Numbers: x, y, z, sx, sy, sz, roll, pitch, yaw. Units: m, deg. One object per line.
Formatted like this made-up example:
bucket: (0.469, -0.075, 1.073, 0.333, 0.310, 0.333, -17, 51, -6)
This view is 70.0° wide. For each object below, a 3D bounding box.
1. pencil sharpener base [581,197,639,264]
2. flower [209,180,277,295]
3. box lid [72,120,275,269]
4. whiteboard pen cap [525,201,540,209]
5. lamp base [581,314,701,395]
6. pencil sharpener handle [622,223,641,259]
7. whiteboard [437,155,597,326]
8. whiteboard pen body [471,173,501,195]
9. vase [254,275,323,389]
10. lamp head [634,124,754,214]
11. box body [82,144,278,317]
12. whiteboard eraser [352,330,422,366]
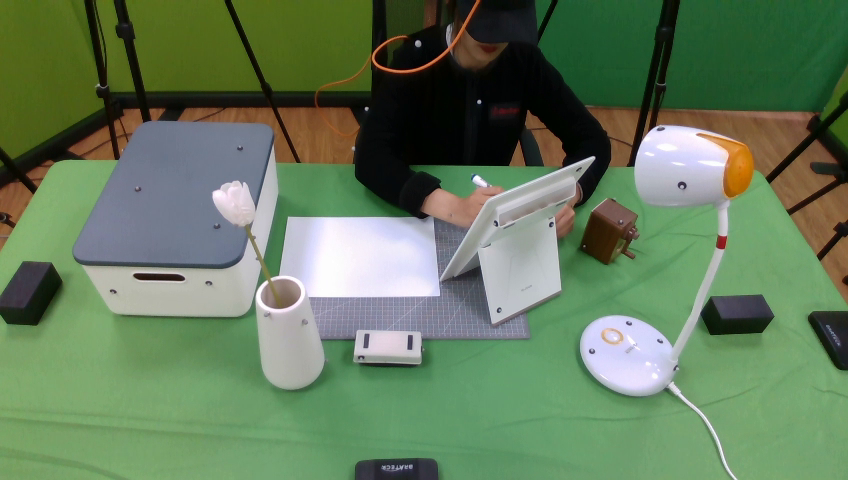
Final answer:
pencil sharpener base: (0.362, -0.017, 1.179, 0.076, 0.107, 0.061, 37, 54, 27)
flower: (-0.217, 0.075, 0.871, 0.044, 0.363, 0.038, -28, 36, -19)
box lid: (-0.417, -0.094, 1.056, 0.263, 0.015, 0.369, 1, 47, -3)
whiteboard pen cap: (0.230, -0.074, 1.289, 0.033, 0.018, 0.018, 4, 46, 4)
lamp base: (0.361, 0.145, 0.973, 0.178, 0.181, 0.160, 34, 53, 23)
pencil sharpener handle: (0.398, 0.003, 1.146, 0.030, 0.068, 0.036, 37, 46, 27)
whiteboard: (0.180, 0.024, 1.029, 0.217, 0.306, 0.143, -21, 70, -23)
whiteboard pen body: (0.141, -0.081, 1.117, 0.017, 0.017, 0.140, -35, 62, -31)
vase: (-0.209, 0.143, 0.921, 0.098, 0.201, 0.097, 1, 46, -1)
lamp head: (0.351, -0.089, 0.776, 0.112, 0.113, 0.122, -30, 30, -28)
box body: (-0.421, -0.041, 1.108, 0.254, 0.161, 0.361, 2, 46, -3)
whiteboard eraser: (-0.060, 0.180, 1.005, 0.113, 0.042, 0.055, 3, 48, -2)
